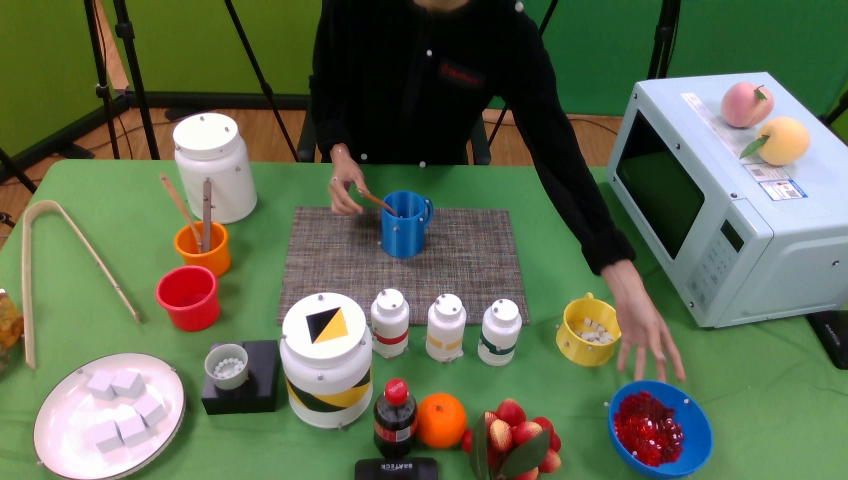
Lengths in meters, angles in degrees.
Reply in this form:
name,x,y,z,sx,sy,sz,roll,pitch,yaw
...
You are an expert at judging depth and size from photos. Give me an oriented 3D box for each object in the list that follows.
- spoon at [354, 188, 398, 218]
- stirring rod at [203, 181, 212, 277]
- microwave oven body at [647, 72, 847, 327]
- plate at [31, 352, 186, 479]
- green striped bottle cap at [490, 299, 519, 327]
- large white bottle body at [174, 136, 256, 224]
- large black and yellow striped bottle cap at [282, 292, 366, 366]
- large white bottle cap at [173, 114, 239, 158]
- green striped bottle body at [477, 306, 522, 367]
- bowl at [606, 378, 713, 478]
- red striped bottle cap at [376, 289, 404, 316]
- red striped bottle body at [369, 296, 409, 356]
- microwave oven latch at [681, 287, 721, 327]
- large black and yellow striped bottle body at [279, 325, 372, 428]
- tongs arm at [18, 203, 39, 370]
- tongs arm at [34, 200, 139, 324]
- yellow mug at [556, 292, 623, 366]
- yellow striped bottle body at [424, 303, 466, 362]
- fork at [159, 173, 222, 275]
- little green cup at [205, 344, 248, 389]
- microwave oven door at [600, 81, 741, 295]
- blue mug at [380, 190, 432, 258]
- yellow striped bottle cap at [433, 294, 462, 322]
name,x,y,z,sx,sy,sz,roll,pitch,yaw
spoon,-0.067,-0.055,1.122,0.021,0.195,0.041,-43,50,6
stirring rod,-0.396,-0.021,1.108,0.014,0.006,0.176,-1,89,-1
microwave oven body,0.607,-0.089,1.163,0.326,0.261,0.438,-7,46,-10
plate,-0.459,0.262,0.898,0.209,0.038,0.208,2,46,-2
green striped bottle cap,0.127,0.115,0.958,0.044,0.020,0.044,2,47,-2
large white bottle body,-0.408,-0.137,1.183,0.131,0.185,0.130,2,46,-2
large black and yellow striped bottle cap,-0.138,0.121,0.841,0.115,0.019,0.114,3,47,-3
large white bottle cap,-0.403,-0.195,1.122,0.115,0.018,0.114,2,47,-2
green striped bottle body,0.124,0.151,0.995,0.063,0.120,0.063,2,46,-2
bowl,0.340,0.292,0.906,0.151,0.077,0.150,2,46,-2
red striped bottle cap,-0.054,0.098,0.958,0.044,0.018,0.044,0,48,0
red striped bottle body,-0.058,0.134,0.997,0.063,0.120,0.062,4,47,-4
microwave oven latch,0.494,0.119,1.087,0.030,0.029,0.078,-6,46,-9
large black and yellow striped bottle body,-0.143,0.181,0.900,0.131,0.185,0.130,2,46,-2
tongs arm,-0.698,0.068,1.069,0.028,0.028,0.385,-20,50,-13
tongs arm,-0.622,0.034,1.105,0.051,0.026,0.382,-31,55,-26
yellow mug,0.284,0.146,1.052,0.100,0.064,0.130,8,45,3
yellow striped bottle body,0.035,0.143,0.995,0.063,0.121,0.062,3,46,-3
fork,-0.427,-0.029,1.103,0.028,0.018,0.207,-31,99,-30
little green cup,-0.293,0.191,0.909,0.061,0.039,0.061,1,47,-1
microwave oven door,0.454,-0.107,1.162,0.039,0.245,0.353,-6,47,-11
blue mug,-0.030,-0.037,1.169,0.116,0.106,0.082,-28,54,-28
yellow striped bottle cap,0.037,0.107,0.958,0.044,0.019,0.044,2,45,-2
